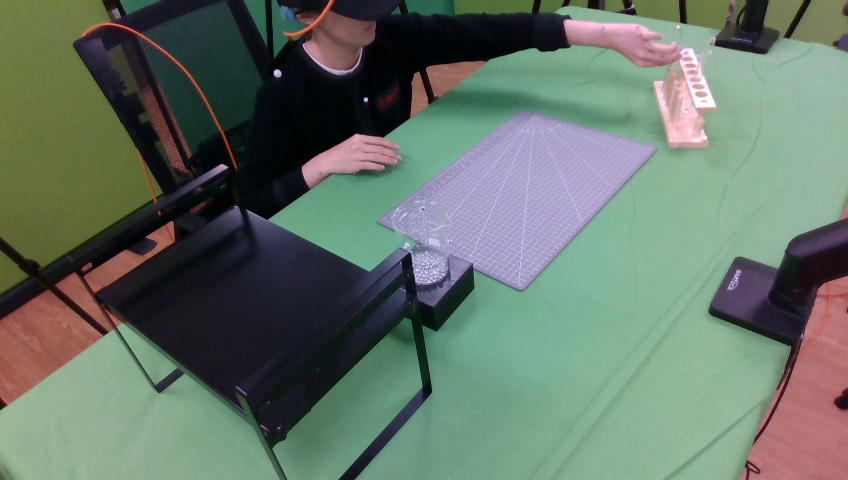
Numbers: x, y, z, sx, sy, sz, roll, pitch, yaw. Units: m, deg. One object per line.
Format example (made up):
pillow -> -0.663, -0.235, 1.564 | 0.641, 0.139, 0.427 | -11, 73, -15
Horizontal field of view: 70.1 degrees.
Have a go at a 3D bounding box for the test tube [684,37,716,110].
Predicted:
test tube -> 0.512, -0.306, 1.126 | 0.017, 0.151, 0.017 | -1, 48, 2

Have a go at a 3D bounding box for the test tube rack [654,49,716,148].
test tube rack -> 0.502, -0.281, 1.176 | 0.066, 0.085, 0.241 | 1, 41, 11

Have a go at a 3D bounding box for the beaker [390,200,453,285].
beaker -> 0.002, 0.006, 0.831 | 0.084, 0.101, 0.074 | 5, 42, 13

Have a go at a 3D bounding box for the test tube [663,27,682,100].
test tube -> 0.485, -0.343, 1.180 | 0.017, 0.151, 0.017 | -5, 42, 5
